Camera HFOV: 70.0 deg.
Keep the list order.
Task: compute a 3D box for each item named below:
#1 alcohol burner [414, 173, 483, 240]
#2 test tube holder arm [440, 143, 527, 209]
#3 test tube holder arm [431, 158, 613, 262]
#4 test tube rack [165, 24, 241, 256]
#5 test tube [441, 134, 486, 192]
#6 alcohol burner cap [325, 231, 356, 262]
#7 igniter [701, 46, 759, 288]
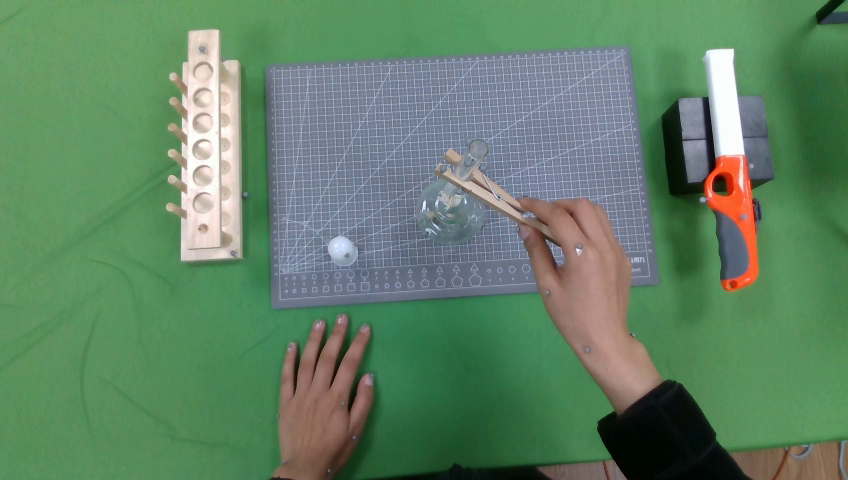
[{"bbox_3d":[0.027,-0.040,0.660,0.078,0.119,0.077,0,82,0],"label":"alcohol burner"},{"bbox_3d":[0.052,-0.053,0.528,0.088,0.015,0.010,38,75,-4],"label":"test tube holder arm"},{"bbox_3d":[0.087,-0.025,0.531,0.179,0.015,0.013,29,77,-6],"label":"test tube holder arm"},{"bbox_3d":[-0.251,-0.109,0.681,0.067,0.085,0.241,-3,81,-1],"label":"test tube rack"},{"bbox_3d":[0.032,-0.062,0.518,0.017,0.150,0.017,1,83,-6],"label":"test tube"},{"bbox_3d":[-0.096,0.005,0.685,0.034,0.048,0.033,0,79,-1],"label":"alcohol burner cap"},{"bbox_3d":[0.337,-0.084,0.674,0.057,0.025,0.275,-1,80,5],"label":"igniter"}]
